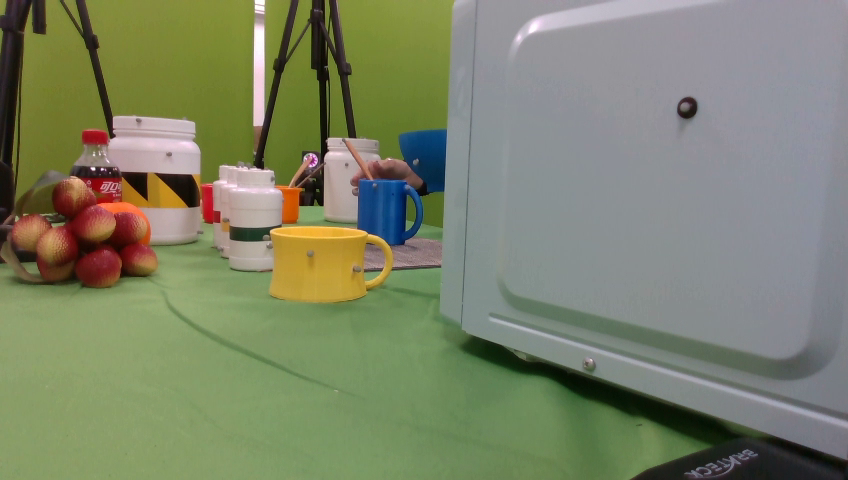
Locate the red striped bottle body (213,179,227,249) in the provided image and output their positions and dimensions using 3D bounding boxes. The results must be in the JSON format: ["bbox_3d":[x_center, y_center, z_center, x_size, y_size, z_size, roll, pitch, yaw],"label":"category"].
[{"bbox_3d":[-0.284,-0.048,0.909,0.063,0.119,0.063,3,10,0],"label":"red striped bottle body"}]

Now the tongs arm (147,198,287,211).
[{"bbox_3d":[-0.504,-0.091,1.513,0.028,0.028,0.389,-1,4,38],"label":"tongs arm"}]

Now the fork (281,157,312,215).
[{"bbox_3d":[-0.289,-0.116,1.321,0.028,0.019,0.207,6,51,19],"label":"fork"}]

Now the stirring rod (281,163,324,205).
[{"bbox_3d":[-0.278,-0.105,1.293,0.176,0.006,0.014,-47,25,-18],"label":"stirring rod"}]

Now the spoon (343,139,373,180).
[{"bbox_3d":[-0.090,-0.094,1.024,0.021,0.193,0.042,-34,-16,27],"label":"spoon"}]

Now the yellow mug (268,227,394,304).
[{"bbox_3d":[-0.094,0.023,0.629,0.131,0.064,0.099,0,7,-22],"label":"yellow mug"}]

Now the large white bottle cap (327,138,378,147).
[{"bbox_3d":[-0.160,-0.218,1.357,0.115,0.018,0.115,2,8,0],"label":"large white bottle cap"}]

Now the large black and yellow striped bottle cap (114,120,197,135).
[{"bbox_3d":[-0.407,-0.171,0.920,0.115,0.019,0.115,2,9,0],"label":"large black and yellow striped bottle cap"}]

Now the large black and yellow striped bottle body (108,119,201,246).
[{"bbox_3d":[-0.412,-0.088,0.930,0.131,0.184,0.130,3,7,0],"label":"large black and yellow striped bottle body"}]

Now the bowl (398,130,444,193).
[{"bbox_3d":[0.040,-0.103,0.821,0.151,0.077,0.151,-1,4,0],"label":"bowl"}]

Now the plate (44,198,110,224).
[{"bbox_3d":[-0.617,-0.056,1.179,0.209,0.038,0.209,3,7,0],"label":"plate"}]

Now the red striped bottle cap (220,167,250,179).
[{"bbox_3d":[-0.281,-0.100,0.901,0.044,0.017,0.044,-1,5,0],"label":"red striped bottle cap"}]

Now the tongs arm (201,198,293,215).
[{"bbox_3d":[-0.423,-0.084,1.472,0.050,0.026,0.386,2,6,21],"label":"tongs arm"}]

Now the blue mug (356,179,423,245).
[{"bbox_3d":[-0.056,-0.046,1.005,0.116,0.106,0.082,6,8,21],"label":"blue mug"}]

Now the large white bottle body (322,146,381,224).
[{"bbox_3d":[-0.163,-0.135,1.368,0.131,0.184,0.130,2,7,0],"label":"large white bottle body"}]

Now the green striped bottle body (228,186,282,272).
[{"bbox_3d":[-0.208,-0.023,0.745,0.063,0.119,0.063,3,7,0],"label":"green striped bottle body"}]

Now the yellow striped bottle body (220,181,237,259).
[{"bbox_3d":[-0.246,-0.036,0.825,0.063,0.120,0.063,3,8,0],"label":"yellow striped bottle body"}]

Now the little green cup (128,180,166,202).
[{"bbox_3d":[-0.485,-0.087,1.062,0.061,0.038,0.061,-1,6,0],"label":"little green cup"}]

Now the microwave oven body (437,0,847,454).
[{"bbox_3d":[0.279,-0.040,0.464,0.444,0.260,0.324,-3,9,-41],"label":"microwave oven body"}]

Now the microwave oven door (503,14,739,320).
[{"bbox_3d":[0.218,-0.065,0.600,0.358,0.243,0.039,-4,10,-41],"label":"microwave oven door"}]

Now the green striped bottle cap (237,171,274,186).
[{"bbox_3d":[-0.206,-0.075,0.738,0.044,0.020,0.044,2,7,0],"label":"green striped bottle cap"}]

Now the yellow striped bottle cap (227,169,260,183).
[{"bbox_3d":[-0.243,-0.086,0.818,0.044,0.018,0.044,3,7,0],"label":"yellow striped bottle cap"}]

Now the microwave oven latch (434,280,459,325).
[{"bbox_3d":[0.044,0.045,0.470,0.079,0.029,0.030,-2,8,-39],"label":"microwave oven latch"}]
